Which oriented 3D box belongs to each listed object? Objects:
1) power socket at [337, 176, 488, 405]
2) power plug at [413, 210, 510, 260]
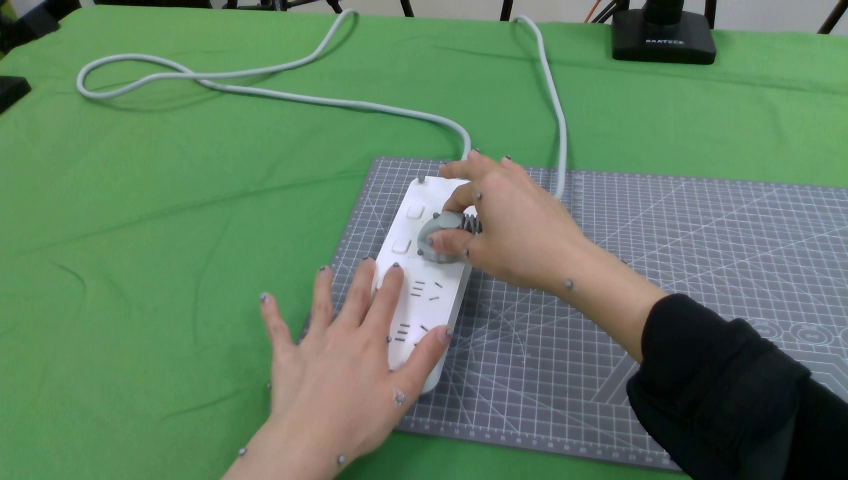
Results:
[{"bbox_3d":[-0.002,0.024,0.478,0.072,0.033,0.225,8,45,14],"label":"power socket"},{"bbox_3d":[0.026,0.005,0.462,0.072,0.053,0.035,15,48,21],"label":"power plug"}]
